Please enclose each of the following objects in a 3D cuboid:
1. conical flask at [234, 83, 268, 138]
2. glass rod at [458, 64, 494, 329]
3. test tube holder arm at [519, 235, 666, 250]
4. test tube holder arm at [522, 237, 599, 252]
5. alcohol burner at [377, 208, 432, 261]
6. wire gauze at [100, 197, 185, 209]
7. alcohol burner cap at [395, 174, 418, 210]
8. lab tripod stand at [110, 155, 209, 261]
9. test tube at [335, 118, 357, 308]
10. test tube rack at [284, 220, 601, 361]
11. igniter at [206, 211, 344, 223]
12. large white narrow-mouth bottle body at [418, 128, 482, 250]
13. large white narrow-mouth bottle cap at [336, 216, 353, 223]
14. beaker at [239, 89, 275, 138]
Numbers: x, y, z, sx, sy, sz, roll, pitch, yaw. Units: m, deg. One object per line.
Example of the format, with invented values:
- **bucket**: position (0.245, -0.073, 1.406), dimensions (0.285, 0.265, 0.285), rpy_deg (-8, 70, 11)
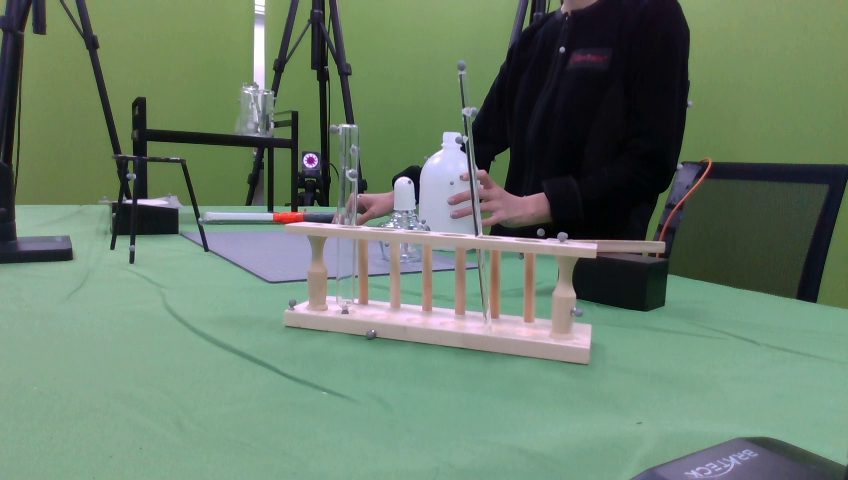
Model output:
- **conical flask**: position (-0.399, -0.298, 1.396), dimensions (0.075, 0.122, 0.075), rpy_deg (2, 8, 0)
- **glass rod**: position (0.039, -0.029, 0.449), dimensions (0.008, 0.199, 0.008), rpy_deg (-7, 9, 1)
- **test tube holder arm**: position (0.185, 0.003, 0.656), dimensions (0.179, 0.015, 0.013), rpy_deg (-1, 15, -19)
- **test tube holder arm**: position (0.144, 0.005, 0.636), dimensions (0.088, 0.015, 0.010), rpy_deg (-1, 15, -19)
- **alcohol burner**: position (-0.027, -0.031, 0.838), dimensions (0.078, 0.119, 0.078), rpy_deg (0, 6, 0)
- **wire gauze**: position (-0.469, -0.062, 1.008), dimensions (0.126, 0.011, 0.121), rpy_deg (-2, 8, -25)
- **alcohol burner cap**: position (-0.026, -0.067, 0.833), dimensions (0.034, 0.048, 0.034), rpy_deg (-1, 12, 1)
- **lab tripod stand**: position (-0.361, -0.046, 0.806), dimensions (0.148, 0.131, 0.148), rpy_deg (2, 5, 0)
- **test tube**: position (-0.061, -0.019, 0.476), dimensions (0.017, 0.150, 0.017), rpy_deg (2, 10, 0)
- **test tube rack**: position (0.013, 0.032, 0.482), dimensions (0.242, 0.085, 0.067), rpy_deg (4, 7, 16)
- **igniter**: position (-0.302, -0.048, 1.249), dimensions (0.278, 0.025, 0.057), rpy_deg (-2, -2, -27)
- **large white narrow-mouth bottle body**: position (0.044, -0.086, 0.996), dimensions (0.102, 0.194, 0.102), rpy_deg (2, 8, 0)
- **large white narrow-mouth bottle cap**: position (-0.161, -0.036, 1.231), dimensions (0.038, 0.024, 0.037), rpy_deg (2, 8, 0)
- **beaker**: position (-0.360, -0.273, 1.308), dimensions (0.074, 0.100, 0.084), rpy_deg (0, 8, -11)
